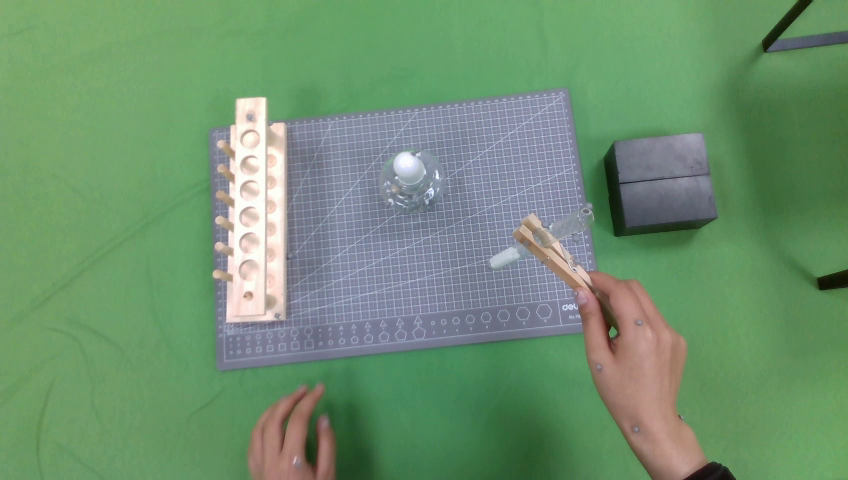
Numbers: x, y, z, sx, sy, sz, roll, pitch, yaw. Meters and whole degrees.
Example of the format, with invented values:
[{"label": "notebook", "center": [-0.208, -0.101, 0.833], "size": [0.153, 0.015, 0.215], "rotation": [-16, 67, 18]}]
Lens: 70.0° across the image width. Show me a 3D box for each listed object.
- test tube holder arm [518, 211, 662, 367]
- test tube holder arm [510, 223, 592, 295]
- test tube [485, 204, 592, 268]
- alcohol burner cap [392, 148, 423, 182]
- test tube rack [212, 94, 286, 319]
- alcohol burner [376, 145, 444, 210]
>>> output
[{"label": "test tube holder arm", "center": [0.145, 0.044, 0.524], "size": [0.179, 0.015, 0.013], "rotation": [46, 67, -6]}, {"label": "test tube holder arm", "center": [0.110, 0.017, 0.517], "size": [0.088, 0.015, 0.010], "rotation": [39, 68, -9]}, {"label": "test tube", "center": [0.092, 0.001, 0.521], "size": [0.017, 0.150, 0.017], "rotation": [7, 71, -22]}, {"label": "alcohol burner cap", "center": [-0.020, -0.081, 0.642], "size": [0.034, 0.048, 0.034], "rotation": [0, 84, 4]}, {"label": "test tube rack", "center": [-0.203, -0.035, 0.691], "size": [0.067, 0.085, 0.241], "rotation": [-2, 79, 2]}, {"label": "alcohol burner", "center": [-0.017, -0.074, 0.677], "size": [0.078, 0.119, 0.077], "rotation": [0, 80, 3]}]
